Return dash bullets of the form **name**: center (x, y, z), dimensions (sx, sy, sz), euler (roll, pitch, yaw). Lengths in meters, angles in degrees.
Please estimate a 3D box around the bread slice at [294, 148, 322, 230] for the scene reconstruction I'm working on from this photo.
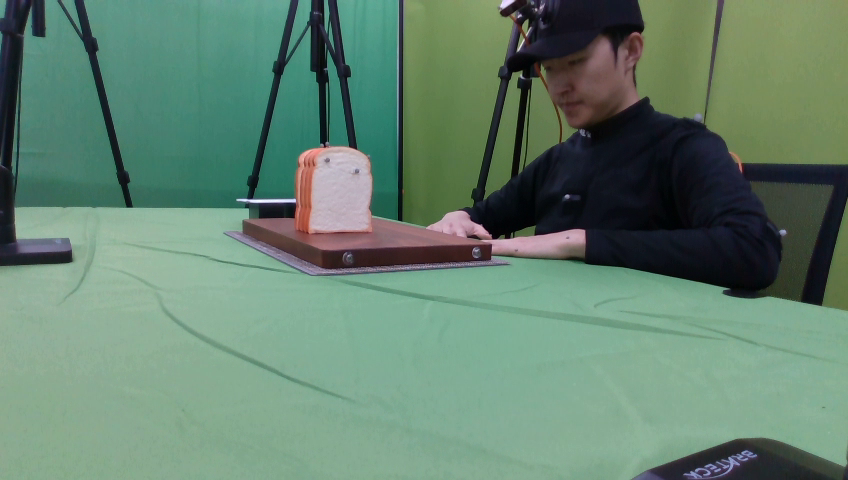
- **bread slice**: center (-0.158, -0.081, 0.970), dimensions (0.105, 0.131, 0.019), euler (-1, 2, -33)

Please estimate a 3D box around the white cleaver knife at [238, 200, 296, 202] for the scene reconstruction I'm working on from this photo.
- **white cleaver knife**: center (-0.262, -0.087, 1.300), dimensions (0.065, 0.021, 0.288), euler (9, 8, 42)

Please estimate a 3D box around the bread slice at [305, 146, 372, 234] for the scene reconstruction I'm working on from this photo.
- **bread slice**: center (-0.131, -0.076, 0.924), dimensions (0.107, 0.134, 0.018), euler (-6, 11, -32)
